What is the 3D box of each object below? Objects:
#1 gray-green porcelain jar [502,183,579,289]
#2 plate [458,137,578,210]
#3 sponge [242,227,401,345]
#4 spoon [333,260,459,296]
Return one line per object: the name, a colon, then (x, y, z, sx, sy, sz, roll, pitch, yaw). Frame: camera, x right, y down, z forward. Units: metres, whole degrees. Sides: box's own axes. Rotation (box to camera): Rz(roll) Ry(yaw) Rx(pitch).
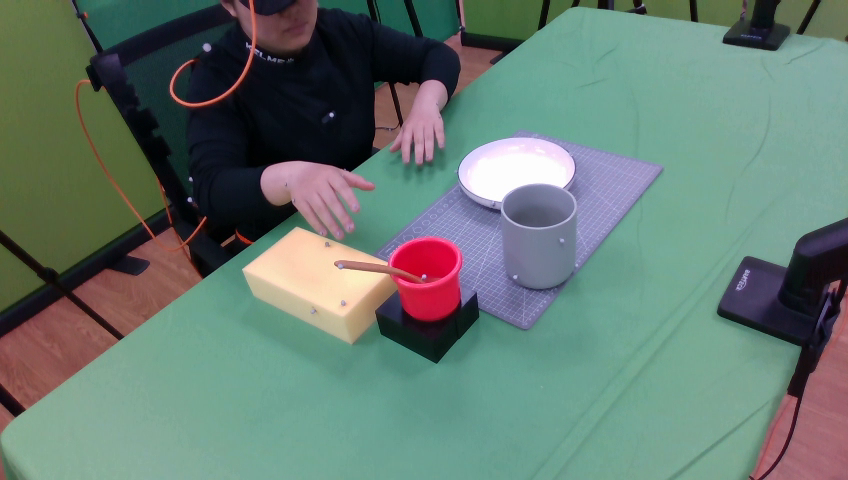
gray-green porcelain jar: (0.166, -0.001, 0.866, 0.106, 0.127, 0.105, -5, 40, 5)
plate: (0.166, -0.113, 1.068, 0.207, 0.039, 0.206, -5, 40, 5)
sponge: (-0.154, 0.063, 0.907, 0.205, 0.061, 0.118, 19, 48, 29)
spoon: (-0.031, 0.045, 0.762, 0.195, 0.021, 0.041, 19, 20, -39)
